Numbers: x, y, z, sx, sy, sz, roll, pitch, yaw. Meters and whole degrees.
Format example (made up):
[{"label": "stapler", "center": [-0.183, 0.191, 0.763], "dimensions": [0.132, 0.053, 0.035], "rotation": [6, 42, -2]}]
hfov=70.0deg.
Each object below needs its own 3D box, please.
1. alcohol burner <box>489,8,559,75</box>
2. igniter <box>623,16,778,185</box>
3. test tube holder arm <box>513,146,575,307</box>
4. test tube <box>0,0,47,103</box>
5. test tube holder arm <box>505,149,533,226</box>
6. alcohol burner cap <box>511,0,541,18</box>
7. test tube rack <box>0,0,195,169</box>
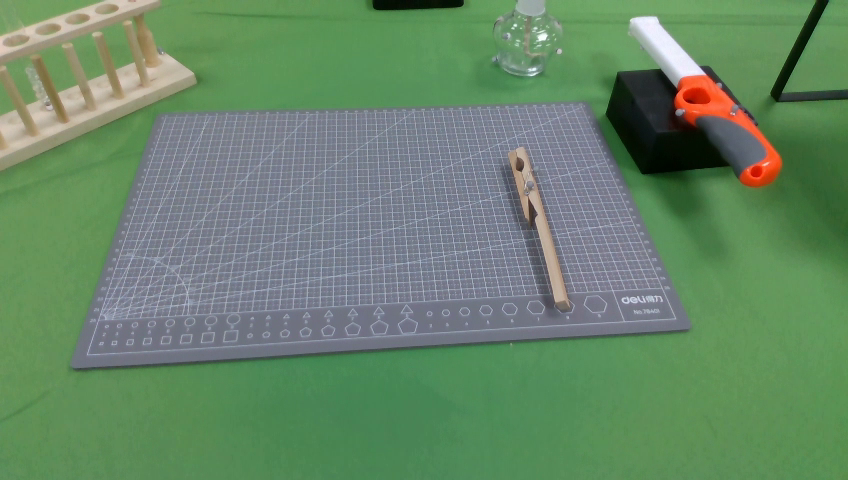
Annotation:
[{"label": "alcohol burner", "center": [0.112, -0.245, 0.666], "dimensions": [0.078, 0.120, 0.077], "rotation": [1, 50, -1]}, {"label": "igniter", "center": [0.253, -0.144, 0.574], "dimensions": [0.057, 0.025, 0.273], "rotation": [-7, 46, -4]}, {"label": "test tube holder arm", "center": [0.099, -0.018, 0.517], "dimensions": [0.013, 0.015, 0.176], "rotation": [-29, 45, 20]}, {"label": "test tube", "center": [-0.373, -0.191, 0.549], "dimensions": [0.017, 0.151, 0.017], "rotation": [3, 44, -2]}, {"label": "test tube holder arm", "center": [0.088, -0.049, 0.549], "dimensions": [0.010, 0.015, 0.087], "rotation": [-28, 46, 21]}, {"label": "alcohol burner cap", "center": [0.111, -0.266, 0.643], "dimensions": [0.034, 0.048, 0.033], "rotation": [1, 48, 0]}, {"label": "test tube rack", "center": [-0.355, -0.154, 0.583], "dimensions": [0.066, 0.086, 0.242], "rotation": [36, 56, 27]}]
